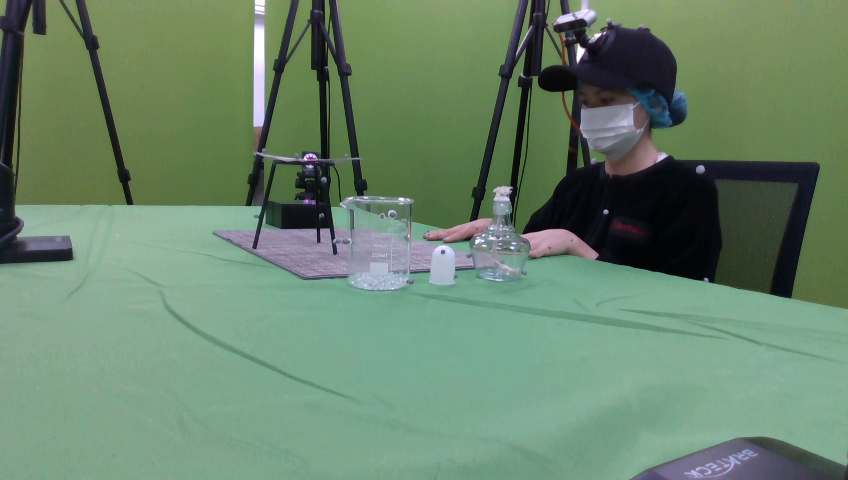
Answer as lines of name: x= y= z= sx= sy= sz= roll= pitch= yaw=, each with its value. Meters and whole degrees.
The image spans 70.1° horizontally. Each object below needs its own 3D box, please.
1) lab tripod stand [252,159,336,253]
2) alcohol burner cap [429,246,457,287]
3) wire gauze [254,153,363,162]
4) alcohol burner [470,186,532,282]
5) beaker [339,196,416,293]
lab tripod stand: x=-0.180 y=-0.053 z=0.900 sx=0.148 sy=0.131 sz=0.148 roll=1 pitch=6 yaw=0
alcohol burner cap: x=0.024 y=0.030 z=0.705 sx=0.034 sy=0.048 sz=0.034 roll=2 pitch=6 yaw=0
wire gauze: x=-0.172 y=-0.119 z=0.891 sx=0.122 sy=0.011 sz=0.124 roll=-2 pitch=7 yaw=-38
alcohol burner: x=0.096 y=-0.008 z=0.752 sx=0.078 sy=0.119 sz=0.078 roll=3 pitch=5 yaw=0
beaker: x=-0.052 y=0.004 z=0.661 sx=0.084 sy=0.100 sz=0.073 roll=-1 pitch=7 yaw=-18
